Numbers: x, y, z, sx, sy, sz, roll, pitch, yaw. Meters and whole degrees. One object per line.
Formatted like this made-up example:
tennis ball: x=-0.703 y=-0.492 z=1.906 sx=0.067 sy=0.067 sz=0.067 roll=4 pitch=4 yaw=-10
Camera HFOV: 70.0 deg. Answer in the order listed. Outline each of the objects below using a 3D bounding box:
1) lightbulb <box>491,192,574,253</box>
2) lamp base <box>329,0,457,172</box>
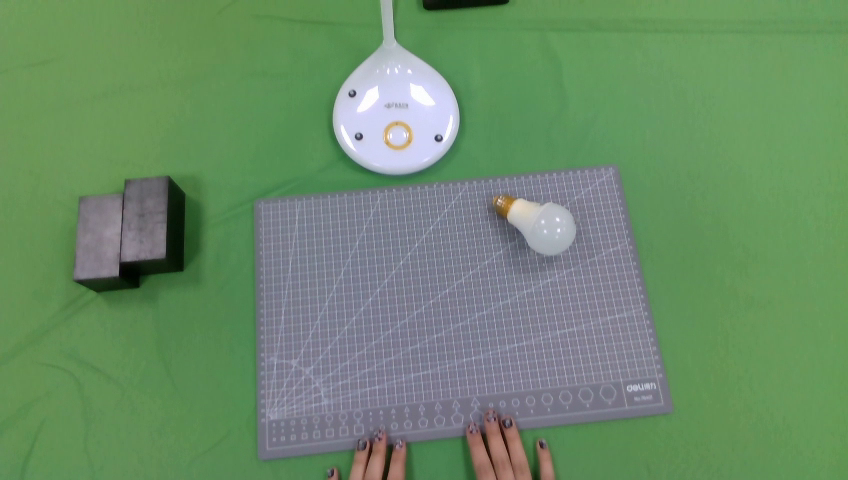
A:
lightbulb: x=0.124 y=-0.026 z=0.707 sx=0.107 sy=0.060 sz=0.059 roll=32 pitch=73 yaw=26
lamp base: x=-0.041 y=-0.195 z=0.696 sx=0.161 sy=0.181 sz=0.178 roll=-11 pitch=69 yaw=-4
